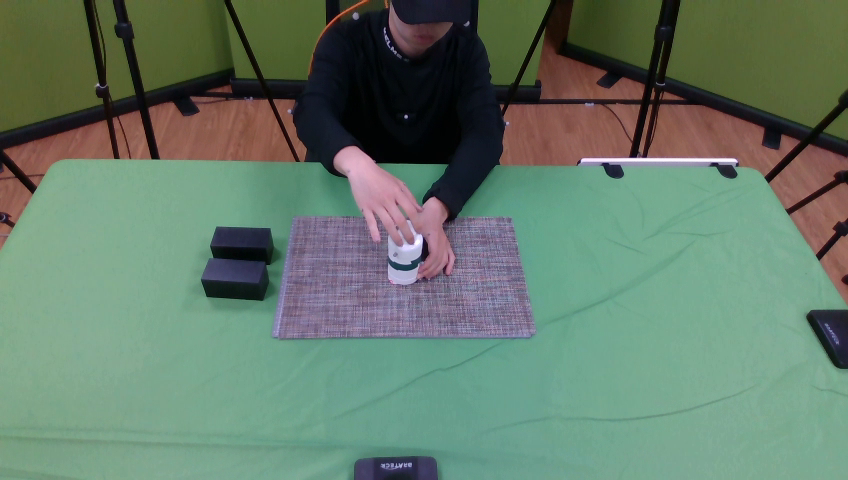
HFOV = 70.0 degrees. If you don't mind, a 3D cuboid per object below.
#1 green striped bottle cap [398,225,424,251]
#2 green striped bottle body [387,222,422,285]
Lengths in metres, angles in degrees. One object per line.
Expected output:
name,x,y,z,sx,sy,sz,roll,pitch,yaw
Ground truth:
green striped bottle cap,-0.021,-0.004,1.003,0.020,0.044,0.044,5,36,46
green striped bottle body,-0.036,0.021,1.102,0.063,0.120,0.063,2,46,-2
